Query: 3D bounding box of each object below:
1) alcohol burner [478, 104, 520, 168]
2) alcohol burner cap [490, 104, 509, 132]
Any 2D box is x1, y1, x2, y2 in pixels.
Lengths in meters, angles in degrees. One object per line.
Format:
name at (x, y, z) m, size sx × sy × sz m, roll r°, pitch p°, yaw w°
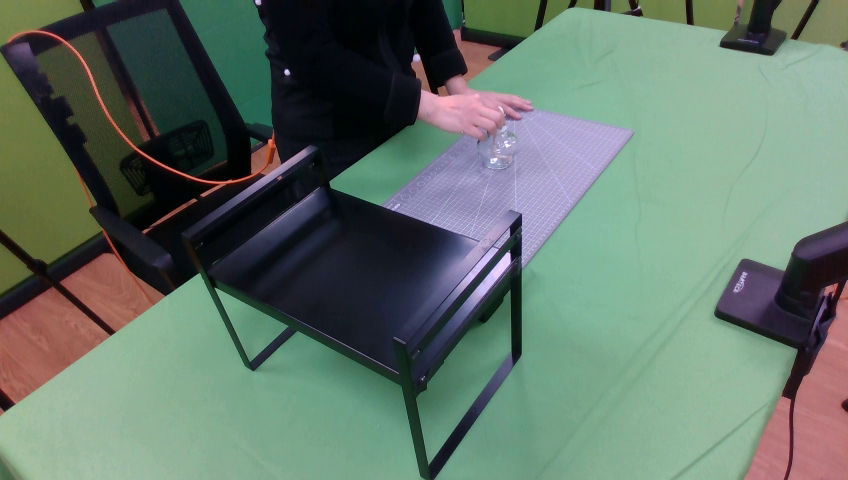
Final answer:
alcohol burner at (0.136, -0.193, 1.106) m, size 0.078 × 0.119 × 0.077 m, roll -5°, pitch 39°, yaw 4°
alcohol burner cap at (0.133, -0.220, 1.082) m, size 0.034 × 0.048 × 0.033 m, roll -8°, pitch 41°, yaw 7°
